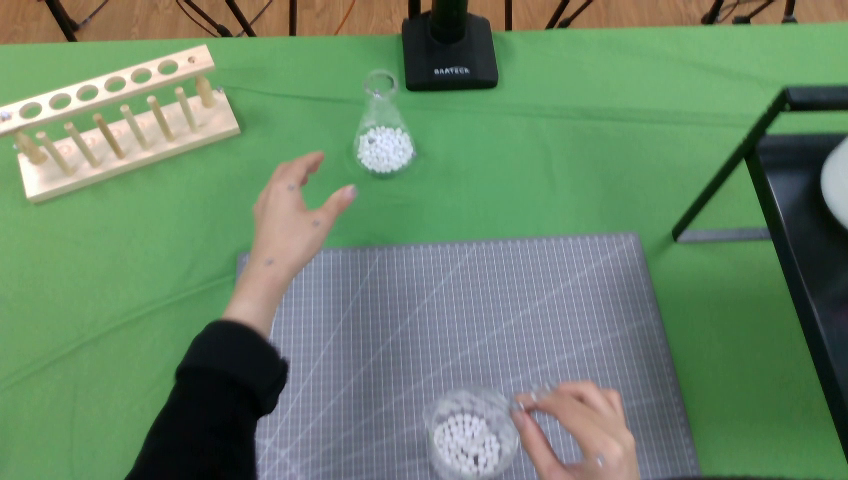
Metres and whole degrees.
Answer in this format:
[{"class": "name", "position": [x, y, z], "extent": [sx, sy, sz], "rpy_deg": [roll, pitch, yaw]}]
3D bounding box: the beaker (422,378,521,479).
[{"class": "beaker", "position": [0.037, 0.171, 0.540], "extent": [0.084, 0.101, 0.073], "rpy_deg": [18, 64, 8]}]

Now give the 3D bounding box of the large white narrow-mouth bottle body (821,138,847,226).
[{"class": "large white narrow-mouth bottle body", "position": [0.384, -0.080, 0.430], "extent": [0.102, 0.196, 0.101], "rpy_deg": [0, 62, 0]}]

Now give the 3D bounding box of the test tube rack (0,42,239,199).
[{"class": "test tube rack", "position": [-0.345, -0.135, 0.684], "extent": [0.242, 0.086, 0.066], "rpy_deg": [-22, 66, -13]}]

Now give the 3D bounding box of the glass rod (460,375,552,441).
[{"class": "glass rod", "position": [0.059, 0.138, 0.486], "extent": [0.008, 0.200, 0.008], "rpy_deg": [7, 60, -12]}]

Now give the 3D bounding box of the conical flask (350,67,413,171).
[{"class": "conical flask", "position": [-0.049, -0.139, 0.680], "extent": [0.075, 0.123, 0.074], "rpy_deg": [1, 63, -2]}]
